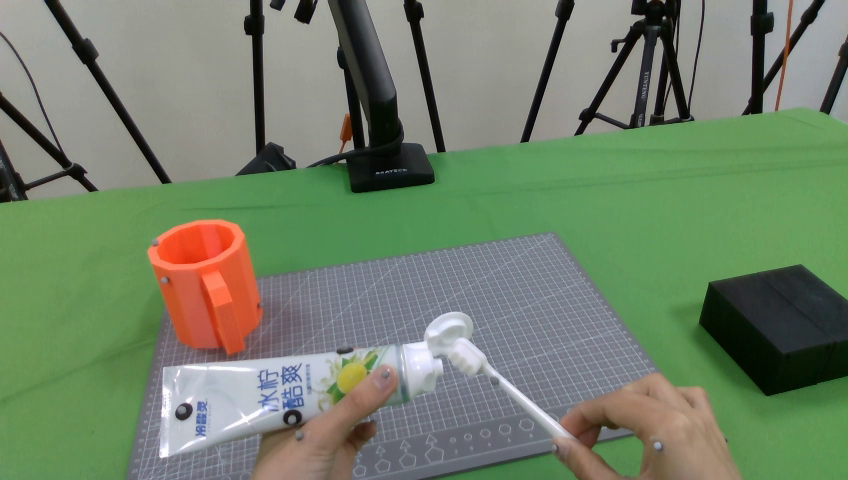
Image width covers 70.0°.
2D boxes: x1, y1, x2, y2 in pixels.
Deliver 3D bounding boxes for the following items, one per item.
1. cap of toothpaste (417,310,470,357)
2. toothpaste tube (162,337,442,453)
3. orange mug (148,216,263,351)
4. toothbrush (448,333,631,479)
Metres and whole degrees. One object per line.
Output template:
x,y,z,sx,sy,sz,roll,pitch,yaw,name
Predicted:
0.014,0.061,0.387,0.037,0.037,0.011,-14,35,-16,cap of toothpaste
-0.071,0.084,0.361,0.165,0.035,0.054,-8,56,-7,toothpaste tube
-0.202,0.046,0.580,0.083,0.101,0.125,-20,33,-24,orange mug
0.085,0.120,0.364,0.181,0.014,0.016,40,29,5,toothbrush
